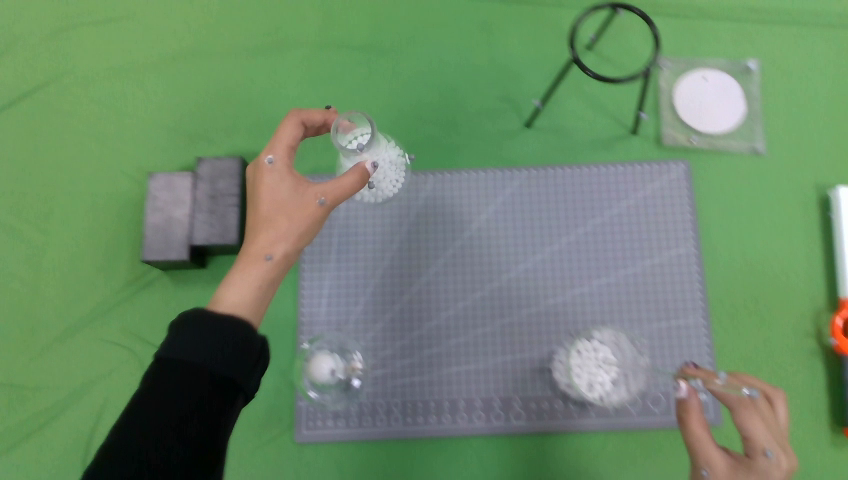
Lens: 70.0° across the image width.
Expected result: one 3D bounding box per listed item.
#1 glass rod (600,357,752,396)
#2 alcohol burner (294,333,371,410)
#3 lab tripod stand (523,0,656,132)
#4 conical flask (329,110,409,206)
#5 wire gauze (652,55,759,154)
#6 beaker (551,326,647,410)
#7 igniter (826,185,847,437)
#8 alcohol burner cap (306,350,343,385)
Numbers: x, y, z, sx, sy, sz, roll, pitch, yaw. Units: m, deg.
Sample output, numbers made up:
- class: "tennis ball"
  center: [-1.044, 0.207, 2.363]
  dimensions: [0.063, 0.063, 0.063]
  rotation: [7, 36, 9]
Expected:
- class: "glass rod"
  center: [0.191, 0.106, 0.488]
  dimensions: [0.008, 0.199, 0.008]
  rotation: [1, 85, -11]
- class: "alcohol burner"
  center: [-0.094, 0.129, 0.599]
  dimensions: [0.078, 0.119, 0.077]
  rotation: [-1, 76, 3]
- class: "lab tripod stand"
  center: [0.183, -0.180, 0.660]
  dimensions: [0.148, 0.132, 0.147]
  rotation: [0, 79, 1]
- class: "conical flask"
  center: [-0.055, -0.078, 0.544]
  dimensions: [0.075, 0.122, 0.075]
  rotation: [0, 81, 3]
- class: "wire gauze"
  center: [0.335, -0.164, 0.718]
  dimensions: [0.125, 0.011, 0.121]
  rotation: [4, 78, 0]
- class: "beaker"
  center: [0.172, 0.126, 0.604]
  dimensions: [0.084, 0.100, 0.073]
  rotation: [-35, 79, -8]
- class: "igniter"
  center: [0.463, 0.075, 0.652]
  dimensions: [0.057, 0.025, 0.275]
  rotation: [6, 77, -9]
- class: "alcohol burner cap"
  center: [-0.094, 0.119, 0.564]
  dimensions: [0.034, 0.048, 0.033]
  rotation: [0, 81, -3]
